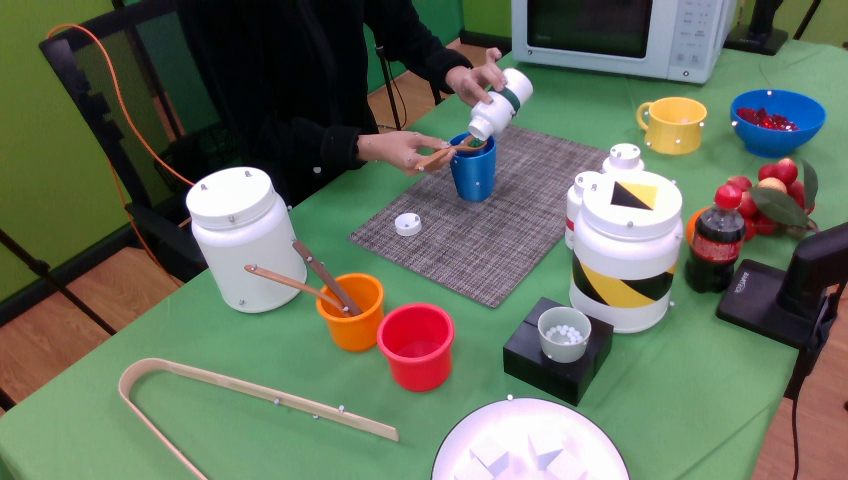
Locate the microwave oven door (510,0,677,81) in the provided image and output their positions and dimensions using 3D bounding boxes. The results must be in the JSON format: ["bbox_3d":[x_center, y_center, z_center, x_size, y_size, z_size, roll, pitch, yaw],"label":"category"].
[{"bbox_3d":[0.354,-0.478,1.290,0.353,0.245,0.039,15,45,25],"label":"microwave oven door"}]

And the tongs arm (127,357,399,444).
[{"bbox_3d":[-0.213,0.205,0.755,0.382,0.026,0.051,12,46,23],"label":"tongs arm"}]

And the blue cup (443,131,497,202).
[{"bbox_3d":[0.086,-0.122,1.040,0.092,0.101,0.092,-5,42,5],"label":"blue cup"}]

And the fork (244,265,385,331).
[{"bbox_3d":[-0.142,0.078,0.806,0.209,0.018,0.028,30,32,-23],"label":"fork"}]

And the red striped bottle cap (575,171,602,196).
[{"bbox_3d":[0.242,-0.081,0.876,0.044,0.018,0.044,-5,44,5],"label":"red striped bottle cap"}]

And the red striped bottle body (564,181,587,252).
[{"bbox_3d":[0.246,-0.041,0.910,0.063,0.120,0.062,-2,38,2],"label":"red striped bottle body"}]

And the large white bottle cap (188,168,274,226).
[{"bbox_3d":[-0.264,-0.061,0.831,0.115,0.018,0.114,-4,40,4],"label":"large white bottle cap"}]

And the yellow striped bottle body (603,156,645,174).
[{"bbox_3d":[0.313,-0.089,0.955,0.063,0.121,0.062,-5,40,4],"label":"yellow striped bottle body"}]

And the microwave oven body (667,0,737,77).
[{"bbox_3d":[0.462,-0.552,1.369,0.439,0.261,0.326,15,45,26],"label":"microwave oven body"}]

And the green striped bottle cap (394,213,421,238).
[{"bbox_3d":[-0.028,-0.025,1.010,0.044,0.020,0.044,-2,43,3],"label":"green striped bottle cap"}]

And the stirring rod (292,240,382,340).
[{"bbox_3d":[-0.119,0.068,0.826,0.176,0.006,0.014,49,58,-4],"label":"stirring rod"}]

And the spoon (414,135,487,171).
[{"bbox_3d":[0.042,-0.140,0.955,0.041,0.021,0.195,25,31,27],"label":"spoon"}]

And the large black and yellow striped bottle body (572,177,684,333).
[{"bbox_3d":[0.262,0.017,0.788,0.131,0.185,0.130,-5,40,4],"label":"large black and yellow striped bottle body"}]

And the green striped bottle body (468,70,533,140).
[{"bbox_3d":[0.124,-0.222,1.013,0.062,0.063,0.119,30,74,36],"label":"green striped bottle body"}]

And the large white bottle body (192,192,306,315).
[{"bbox_3d":[-0.256,0.004,0.885,0.130,0.185,0.130,-4,40,4],"label":"large white bottle body"}]

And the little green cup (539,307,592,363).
[{"bbox_3d":[0.168,0.115,0.721,0.061,0.039,0.061,-4,42,4],"label":"little green cup"}]

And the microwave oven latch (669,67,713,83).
[{"bbox_3d":[0.556,-0.348,1.261,0.078,0.029,0.030,16,46,27],"label":"microwave oven latch"}]

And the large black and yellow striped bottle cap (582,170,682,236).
[{"bbox_3d":[0.252,-0.048,0.735,0.115,0.019,0.114,-3,40,3],"label":"large black and yellow striped bottle cap"}]

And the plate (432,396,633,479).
[{"bbox_3d":[0.112,0.261,0.634,0.209,0.038,0.208,-5,40,4],"label":"plate"}]

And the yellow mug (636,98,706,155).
[{"bbox_3d":[0.453,-0.217,1.129,0.100,0.064,0.129,-34,46,-27],"label":"yellow mug"}]

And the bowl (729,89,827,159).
[{"bbox_3d":[0.615,-0.197,1.069,0.151,0.077,0.150,-5,40,5],"label":"bowl"}]

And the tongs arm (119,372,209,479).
[{"bbox_3d":[-0.258,0.257,0.700,0.384,0.028,0.028,24,55,34],"label":"tongs arm"}]

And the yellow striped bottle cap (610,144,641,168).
[{"bbox_3d":[0.307,-0.128,0.923,0.044,0.019,0.044,-6,39,5],"label":"yellow striped bottle cap"}]
